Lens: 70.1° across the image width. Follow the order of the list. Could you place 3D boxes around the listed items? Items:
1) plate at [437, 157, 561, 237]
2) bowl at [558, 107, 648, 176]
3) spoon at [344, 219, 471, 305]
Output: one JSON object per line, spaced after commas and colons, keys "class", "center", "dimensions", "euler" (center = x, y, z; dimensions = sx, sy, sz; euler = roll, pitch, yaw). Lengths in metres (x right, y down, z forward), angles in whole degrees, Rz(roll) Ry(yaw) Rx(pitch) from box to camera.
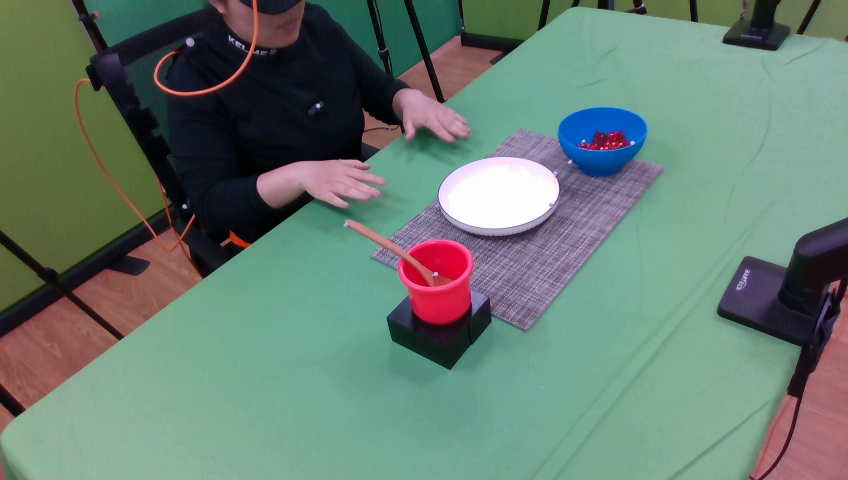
{"class": "plate", "center": [0.127, -0.070, 1.023], "dimensions": [0.207, 0.039, 0.206], "euler": [-5, 40, 5]}
{"class": "bowl", "center": [0.313, -0.165, 1.069], "dimensions": [0.151, 0.077, 0.150], "euler": [-5, 40, 5]}
{"class": "spoon", "center": [-0.020, 0.026, 0.781], "dimensions": [0.194, 0.021, 0.041], "euler": [37, 43, -14]}
